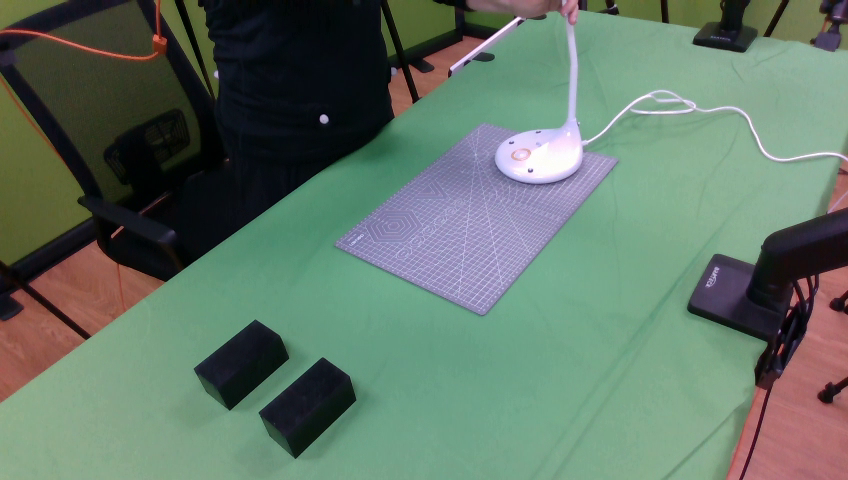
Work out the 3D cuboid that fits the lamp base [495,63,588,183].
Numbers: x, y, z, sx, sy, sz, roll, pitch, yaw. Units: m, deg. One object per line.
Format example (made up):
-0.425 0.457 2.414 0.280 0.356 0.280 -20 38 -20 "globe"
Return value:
0.215 -0.217 1.067 0.180 0.181 0.159 -19 42 -18 "lamp base"
